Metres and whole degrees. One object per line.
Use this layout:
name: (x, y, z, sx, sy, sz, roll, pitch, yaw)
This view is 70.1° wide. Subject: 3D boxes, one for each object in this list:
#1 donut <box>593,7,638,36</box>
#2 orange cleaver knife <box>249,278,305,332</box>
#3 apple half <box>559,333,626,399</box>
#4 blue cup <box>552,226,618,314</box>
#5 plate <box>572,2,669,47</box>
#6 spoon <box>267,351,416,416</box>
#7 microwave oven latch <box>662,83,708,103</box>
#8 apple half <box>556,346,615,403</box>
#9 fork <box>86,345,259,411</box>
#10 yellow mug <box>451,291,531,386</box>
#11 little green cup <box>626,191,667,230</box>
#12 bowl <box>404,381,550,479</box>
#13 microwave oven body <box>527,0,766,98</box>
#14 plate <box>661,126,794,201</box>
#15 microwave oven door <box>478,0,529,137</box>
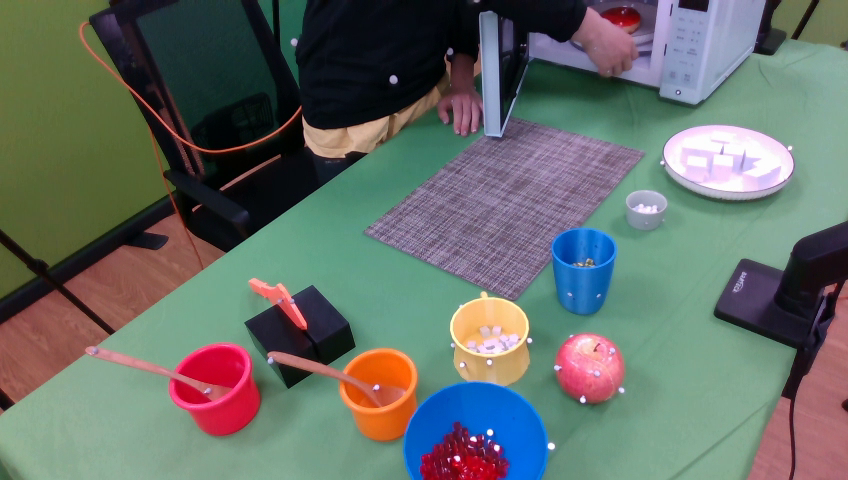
donut: (0.428, -0.491, 1.357, 0.099, 0.048, 0.098, 2, 42, -1)
orange cleaver knife: (-0.210, 0.089, 0.855, 0.012, 0.077, 0.210, -28, 15, -25)
apple half: (0.209, 0.147, 0.730, 0.080, 0.075, 0.053, 26, 48, 38)
blue cup: (0.218, 0.047, 0.825, 0.092, 0.101, 0.092, -6, 40, 5)
plate: (0.440, -0.484, 1.365, 0.209, 0.038, 0.208, -5, 40, 4)
spoon: (-0.091, 0.163, 0.699, 0.021, 0.195, 0.041, -45, 30, 27)
microwave oven latch: (0.518, -0.296, 1.204, 0.078, 0.029, 0.030, 29, 53, 36)
apple half: (0.181, 0.167, 0.709, 0.080, 0.081, 0.033, 29, 50, 35)
fork: (-0.298, 0.167, 0.728, 0.209, 0.018, 0.028, 28, 47, -23)
yellow mug: (0.086, 0.120, 0.786, 0.100, 0.064, 0.130, -7, 39, 1)
little green cup: (0.352, -0.046, 0.963, 0.061, 0.039, 0.061, -4, 40, 4)
bowl: (0.058, 0.235, 0.645, 0.151, 0.077, 0.150, -4, 39, 4)
microwave oven body: (0.472, -0.513, 1.317, 0.438, 0.261, 0.327, 26, 51, 34)
plate: (0.513, -0.127, 1.035, 0.207, 0.039, 0.206, -4, 40, 4)
microwave oven door: (0.168, -0.408, 1.232, 0.039, 0.245, 0.355, 7, 43, 16)
